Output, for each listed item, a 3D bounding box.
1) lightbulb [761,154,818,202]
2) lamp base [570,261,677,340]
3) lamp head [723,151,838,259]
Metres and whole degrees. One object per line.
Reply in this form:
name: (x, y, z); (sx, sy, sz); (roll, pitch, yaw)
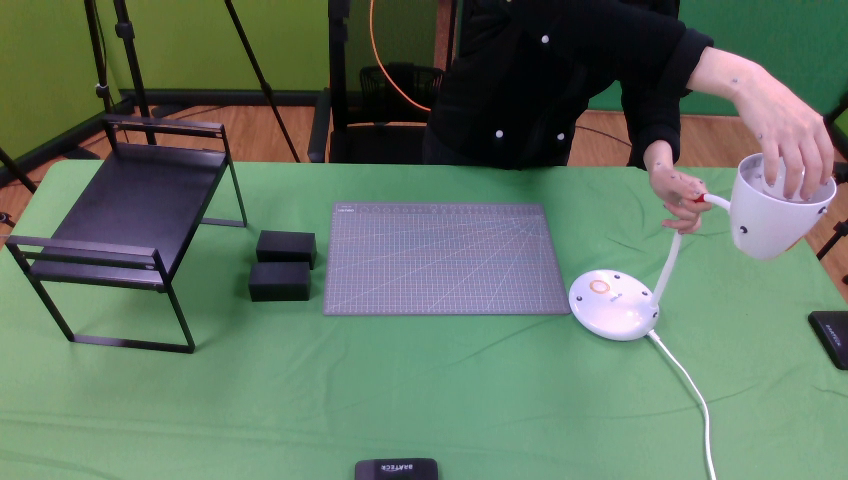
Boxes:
lightbulb: (0.444, -0.056, 0.751); (0.059, 0.108, 0.059); (-1, 39, 1)
lamp base: (0.359, 0.068, 1.046); (0.178, 0.181, 0.160); (37, 55, 25)
lamp head: (0.439, -0.038, 0.773); (0.112, 0.123, 0.111); (1, 46, 0)
